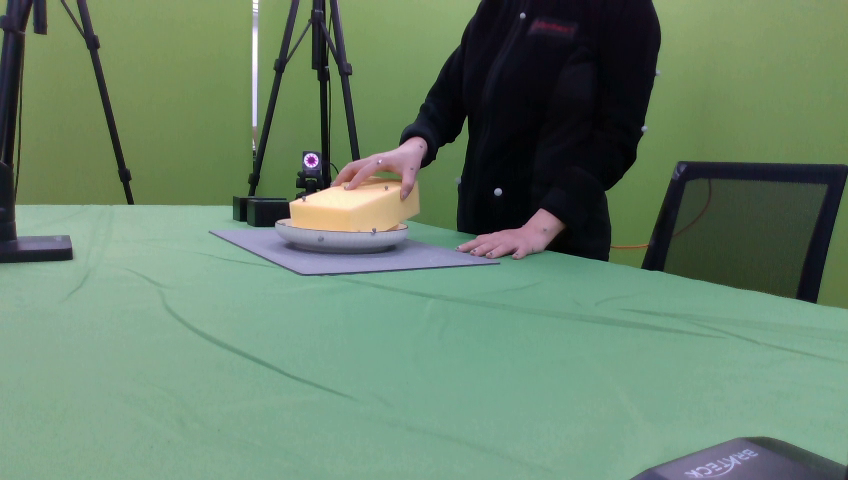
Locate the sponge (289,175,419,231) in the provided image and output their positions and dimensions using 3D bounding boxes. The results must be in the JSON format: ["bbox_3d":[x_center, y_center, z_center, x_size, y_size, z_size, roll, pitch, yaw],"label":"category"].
[{"bbox_3d":[-0.108,-0.053,0.997,0.118,0.061,0.207,7,21,27],"label":"sponge"}]

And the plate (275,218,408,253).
[{"bbox_3d":[-0.129,-0.009,0.954,0.209,0.038,0.209,2,7,0],"label":"plate"}]
